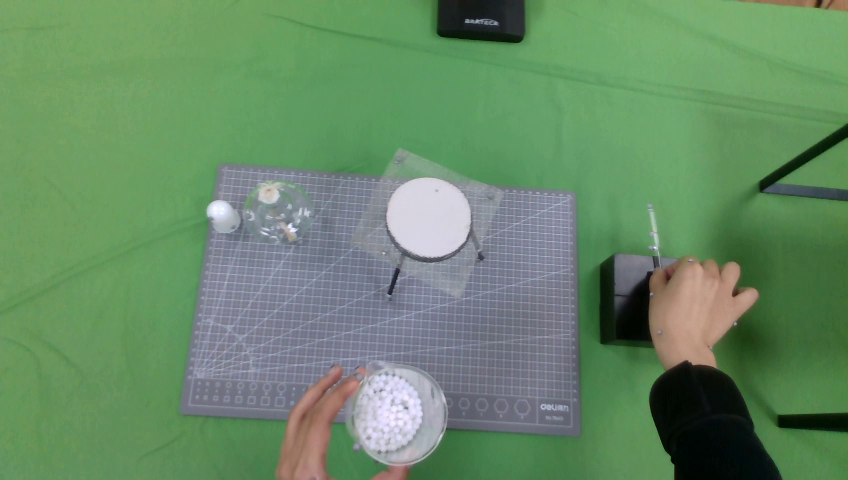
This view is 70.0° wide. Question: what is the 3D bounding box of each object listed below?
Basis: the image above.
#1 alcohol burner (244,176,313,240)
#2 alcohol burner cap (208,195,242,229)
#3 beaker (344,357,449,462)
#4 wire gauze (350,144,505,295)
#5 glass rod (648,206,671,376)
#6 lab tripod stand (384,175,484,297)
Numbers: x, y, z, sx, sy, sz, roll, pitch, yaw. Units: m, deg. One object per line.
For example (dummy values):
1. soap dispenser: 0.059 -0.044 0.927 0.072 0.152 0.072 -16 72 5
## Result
1. alcohol burner: -0.165 -0.042 0.681 0.078 0.119 0.077 2 74 -6
2. alcohol burner cap: -0.235 -0.034 0.710 0.034 0.048 0.033 1 73 -3
3. beaker: -0.030 0.139 0.506 0.074 0.100 0.083 -29 82 -18
4. wire gauze: 0.005 -0.024 0.610 0.125 0.011 0.121 26 74 2
5. glass rod: 0.271 0.055 0.697 0.008 0.008 0.198 1 74 -4
6. lab tripod stand: 0.004 -0.008 0.676 0.148 0.132 0.147 2 73 -5
